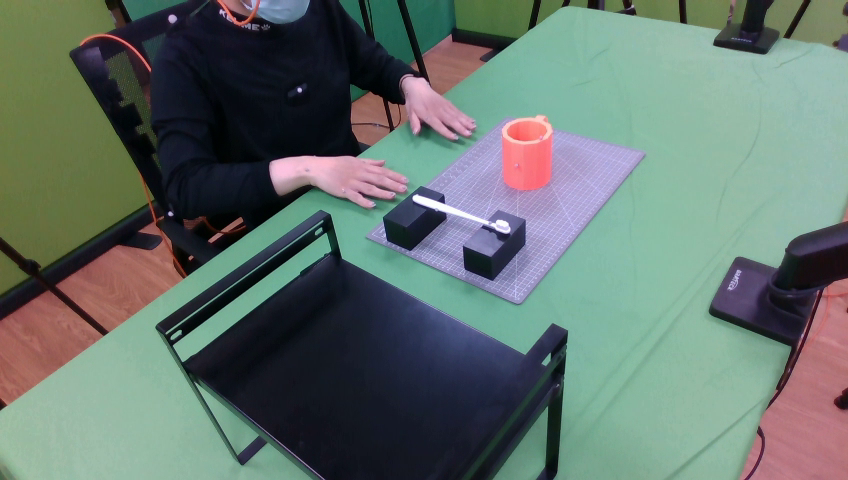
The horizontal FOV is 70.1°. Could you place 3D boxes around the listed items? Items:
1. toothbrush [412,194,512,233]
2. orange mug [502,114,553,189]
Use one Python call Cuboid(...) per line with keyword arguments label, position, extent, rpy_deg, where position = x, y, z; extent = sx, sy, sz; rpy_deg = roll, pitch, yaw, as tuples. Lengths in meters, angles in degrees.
Cuboid(label="toothbrush", position=(0.055, -0.044, 0.936), extent=(0.180, 0.017, 0.014), rpy_deg=(20, 63, 30))
Cuboid(label="orange mug", position=(0.190, -0.164, 1.071), extent=(0.083, 0.101, 0.126), rpy_deg=(16, 50, 25))
